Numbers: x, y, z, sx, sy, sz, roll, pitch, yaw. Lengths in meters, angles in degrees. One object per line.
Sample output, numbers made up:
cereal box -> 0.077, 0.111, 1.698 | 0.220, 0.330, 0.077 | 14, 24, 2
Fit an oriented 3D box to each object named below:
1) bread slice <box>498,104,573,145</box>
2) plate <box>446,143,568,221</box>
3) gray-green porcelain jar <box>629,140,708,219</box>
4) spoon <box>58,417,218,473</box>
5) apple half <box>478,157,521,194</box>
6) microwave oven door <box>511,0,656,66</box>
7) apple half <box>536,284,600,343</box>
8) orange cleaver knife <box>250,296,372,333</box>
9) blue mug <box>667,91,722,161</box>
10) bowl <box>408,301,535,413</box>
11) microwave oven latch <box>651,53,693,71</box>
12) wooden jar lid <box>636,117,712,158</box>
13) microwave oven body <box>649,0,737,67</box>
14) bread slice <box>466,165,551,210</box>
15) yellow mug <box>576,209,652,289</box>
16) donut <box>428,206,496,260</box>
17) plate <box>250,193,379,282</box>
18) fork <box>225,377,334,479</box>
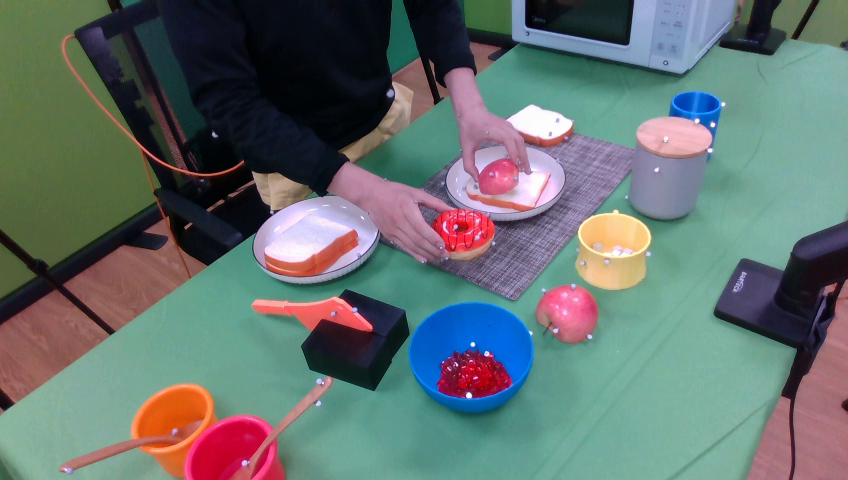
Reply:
bread slice -> 0.231, -0.231, 1.205 | 0.105, 0.019, 0.130 | -36, 47, -29
plate -> 0.142, -0.097, 1.045 | 0.207, 0.039, 0.206 | -4, 40, 4
gray-green porcelain jar -> 0.383, -0.105, 0.958 | 0.106, 0.127, 0.105 | -4, 41, 4
spoon -> -0.304, 0.221, 0.661 | 0.041, 0.195, 0.021 | 19, 92, 27
apple half -> 0.117, -0.110, 0.976 | 0.081, 0.033, 0.081 | -19, 44, 20
microwave oven door -> 0.351, -0.539, 1.348 | 0.353, 0.245, 0.039 | 24, 50, 31
apple half -> 0.196, 0.091, 0.815 | 0.075, 0.053, 0.080 | -22, 42, -20
orange cleaver knife -> -0.158, 0.103, 0.828 | 0.210, 0.078, 0.012 | -4, 43, 39
blue mug -> 0.473, -0.207, 1.079 | 0.082, 0.106, 0.116 | 4, 42, 13
bowl -> 0.060, 0.156, 0.739 | 0.151, 0.077, 0.150 | -4, 40, 4
microwave oven latch -> 0.532, -0.386, 1.301 | 0.078, 0.029, 0.030 | 27, 52, 34
wooden jar lid -> 0.377, -0.152, 0.917 | 0.108, 0.021, 0.108 | -2, 42, 3
microwave oven body -> 0.475, -0.602, 1.411 | 0.438, 0.261, 0.327 | 23, 50, 32
bread slice -> 0.141, -0.094, 1.041 | 0.133, 0.018, 0.107 | 8, 42, 22
yellow mug -> 0.279, 0.004, 0.893 | 0.099, 0.064, 0.130 | 5, 42, 14
donut -> 0.056, -0.011, 0.878 | 0.099, 0.048, 0.098 | -5, 42, 5
plate -> -0.174, -0.001, 0.984 | 0.209, 0.038, 0.208 | -4, 40, 4
fork -> -0.163, 0.216, 0.647 | 0.207, 0.019, 0.028 | -49, 42, 16
